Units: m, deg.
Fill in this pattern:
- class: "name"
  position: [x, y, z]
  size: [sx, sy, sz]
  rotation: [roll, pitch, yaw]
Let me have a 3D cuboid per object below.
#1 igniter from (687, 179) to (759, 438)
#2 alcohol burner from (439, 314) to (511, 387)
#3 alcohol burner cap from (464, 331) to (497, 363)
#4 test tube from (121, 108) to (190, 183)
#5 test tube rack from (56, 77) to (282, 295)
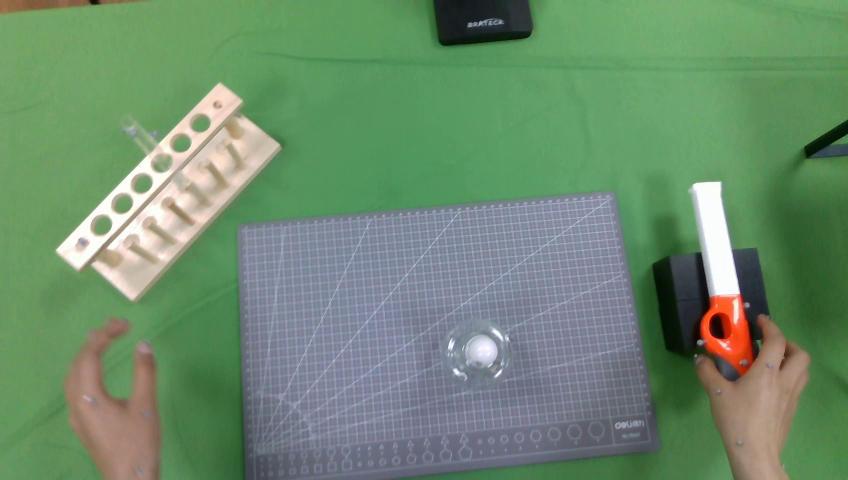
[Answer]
- class: "igniter"
  position: [0.317, 0.067, 0.646]
  size: [0.057, 0.025, 0.275]
  rotation: [-2, 76, 0]
- class: "alcohol burner"
  position: [0.055, 0.113, 0.629]
  size: [0.078, 0.119, 0.077]
  rotation: [1, 76, -3]
- class: "alcohol burner cap"
  position: [0.057, 0.105, 0.594]
  size: [0.034, 0.048, 0.033]
  rotation: [0, 80, 3]
- class: "test tube"
  position: [-0.273, -0.094, 0.628]
  size: [0.017, 0.151, 0.017]
  rotation: [0, 73, -1]
- class: "test tube rack"
  position: [-0.272, -0.057, 0.671]
  size: [0.066, 0.085, 0.242]
  rotation: [39, 79, 7]
